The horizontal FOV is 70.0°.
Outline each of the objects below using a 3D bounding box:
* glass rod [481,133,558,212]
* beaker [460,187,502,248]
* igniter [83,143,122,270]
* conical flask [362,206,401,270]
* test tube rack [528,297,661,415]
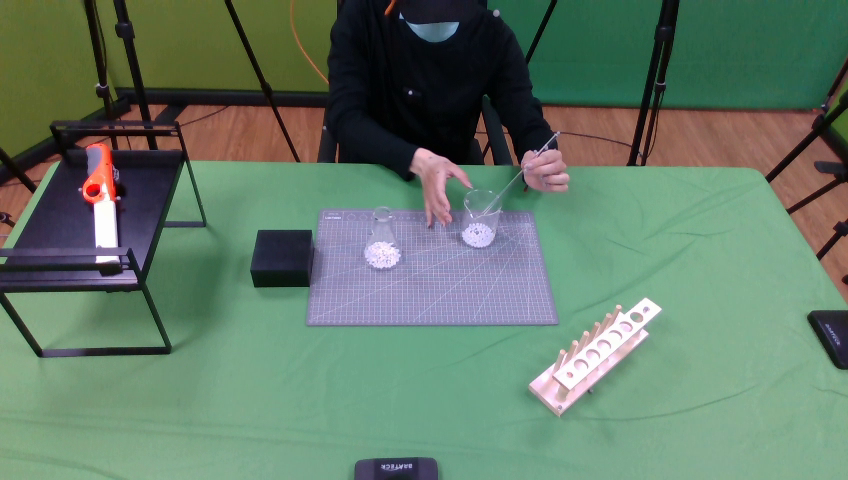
[{"bbox_3d":[0.175,-0.124,1.118,0.200,0.008,0.008,-46,57,5],"label":"glass rod"},{"bbox_3d":[0.109,-0.039,1.186,0.074,0.101,0.083,19,49,14],"label":"beaker"},{"bbox_3d":[-0.508,-0.063,0.962,0.057,0.025,0.274,-14,53,-18],"label":"igniter"},{"bbox_3d":[-0.078,-0.008,1.127,0.075,0.122,0.075,2,46,-2],"label":"conical flask"},{"bbox_3d":[0.285,0.178,1.005,0.242,0.085,0.066,-31,55,-29],"label":"test tube rack"}]
